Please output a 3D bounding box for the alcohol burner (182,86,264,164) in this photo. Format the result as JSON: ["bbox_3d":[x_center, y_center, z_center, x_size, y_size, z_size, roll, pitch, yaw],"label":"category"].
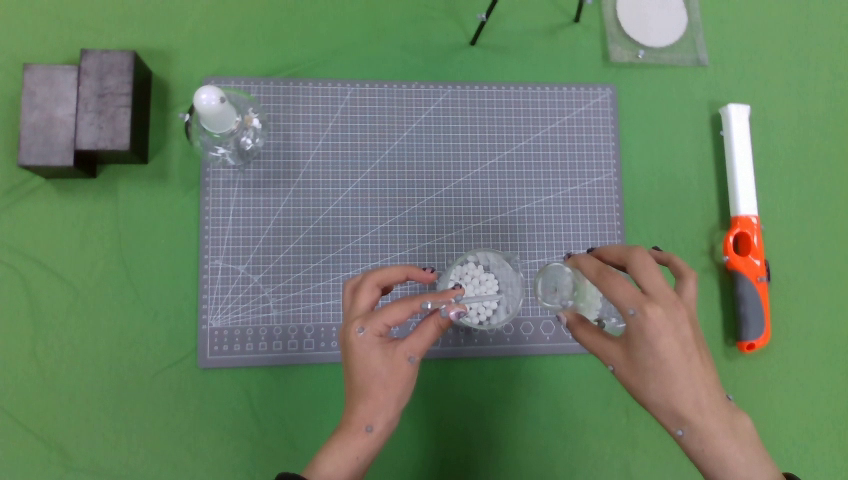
[{"bbox_3d":[-0.195,-0.115,0.577,0.078,0.119,0.077,0,83,-4],"label":"alcohol burner"}]

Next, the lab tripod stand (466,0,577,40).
[{"bbox_3d":[0.105,-0.281,0.623,0.148,0.131,0.148,1,85,-6],"label":"lab tripod stand"}]

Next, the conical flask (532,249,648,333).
[{"bbox_3d":[0.132,0.039,0.500,0.075,0.123,0.075,-6,79,36],"label":"conical flask"}]

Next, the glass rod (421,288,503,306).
[{"bbox_3d":[0.039,0.048,0.519,0.008,0.201,0.008,-1,88,23],"label":"glass rod"}]

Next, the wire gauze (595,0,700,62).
[{"bbox_3d":[0.258,-0.266,0.701,0.125,0.011,0.121,-3,84,-8],"label":"wire gauze"}]

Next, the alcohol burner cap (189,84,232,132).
[{"bbox_3d":[-0.192,-0.121,0.541,0.034,0.048,0.033,2,76,-7],"label":"alcohol burner cap"}]

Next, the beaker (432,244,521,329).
[{"bbox_3d":[0.049,0.045,0.593,0.084,0.100,0.074,-44,89,-10],"label":"beaker"}]

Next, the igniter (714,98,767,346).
[{"bbox_3d":[0.350,-0.022,0.673,0.057,0.025,0.275,0,83,-17],"label":"igniter"}]
